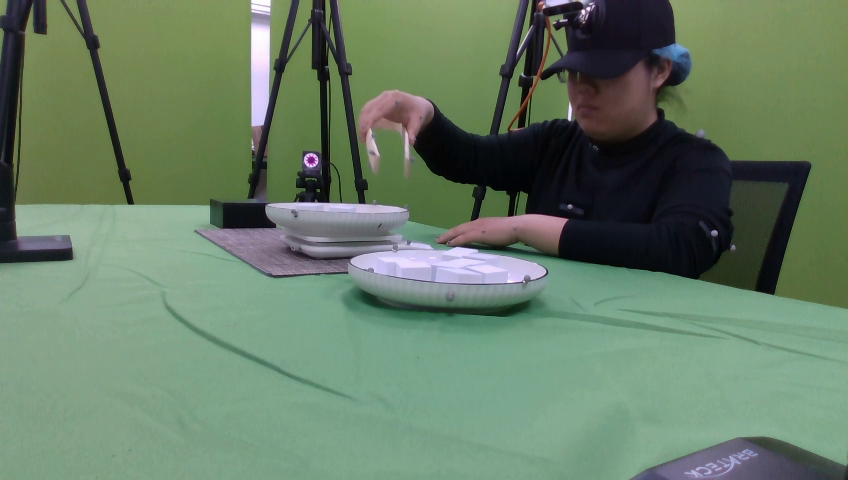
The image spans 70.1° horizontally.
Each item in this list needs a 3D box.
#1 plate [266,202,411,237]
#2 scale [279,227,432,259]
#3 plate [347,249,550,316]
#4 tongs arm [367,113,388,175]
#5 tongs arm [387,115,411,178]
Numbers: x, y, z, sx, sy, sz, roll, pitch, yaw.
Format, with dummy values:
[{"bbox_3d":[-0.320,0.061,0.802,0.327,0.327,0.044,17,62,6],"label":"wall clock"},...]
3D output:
[{"bbox_3d":[-0.123,-0.030,0.879,0.208,0.039,0.207,2,6,0],"label":"plate"},{"bbox_3d":[-0.100,0.001,0.899,0.202,0.031,0.148,-1,8,-31],"label":"scale"},{"bbox_3d":[0.025,0.042,0.627,0.209,0.038,0.209,2,7,0],"label":"plate"},{"bbox_3d":[-0.062,-0.151,0.904,0.051,0.026,0.383,3,19,-10],"label":"tongs arm"},{"bbox_3d":[-0.037,-0.149,0.907,0.028,0.028,0.386,1,19,-5],"label":"tongs arm"}]
